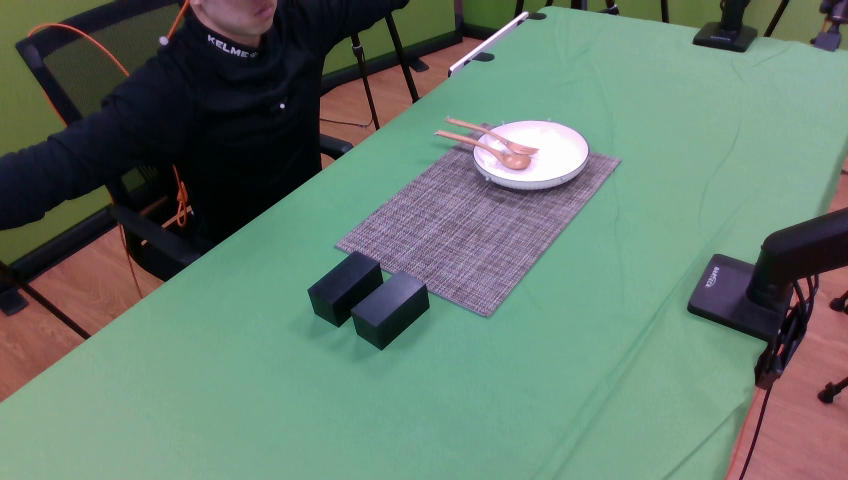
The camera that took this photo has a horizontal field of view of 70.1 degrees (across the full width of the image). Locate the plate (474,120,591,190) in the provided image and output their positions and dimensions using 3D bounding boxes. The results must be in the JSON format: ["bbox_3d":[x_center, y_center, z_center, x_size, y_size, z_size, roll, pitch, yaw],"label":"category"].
[{"bbox_3d":[0.196,-0.151,1.099,0.207,0.039,0.206,-4,40,4],"label":"plate"}]

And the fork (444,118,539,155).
[{"bbox_3d":[0.123,-0.198,1.143,0.206,0.019,0.028,27,54,24],"label":"fork"}]

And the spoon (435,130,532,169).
[{"bbox_3d":[0.107,-0.171,1.112,0.193,0.022,0.041,25,53,15],"label":"spoon"}]
